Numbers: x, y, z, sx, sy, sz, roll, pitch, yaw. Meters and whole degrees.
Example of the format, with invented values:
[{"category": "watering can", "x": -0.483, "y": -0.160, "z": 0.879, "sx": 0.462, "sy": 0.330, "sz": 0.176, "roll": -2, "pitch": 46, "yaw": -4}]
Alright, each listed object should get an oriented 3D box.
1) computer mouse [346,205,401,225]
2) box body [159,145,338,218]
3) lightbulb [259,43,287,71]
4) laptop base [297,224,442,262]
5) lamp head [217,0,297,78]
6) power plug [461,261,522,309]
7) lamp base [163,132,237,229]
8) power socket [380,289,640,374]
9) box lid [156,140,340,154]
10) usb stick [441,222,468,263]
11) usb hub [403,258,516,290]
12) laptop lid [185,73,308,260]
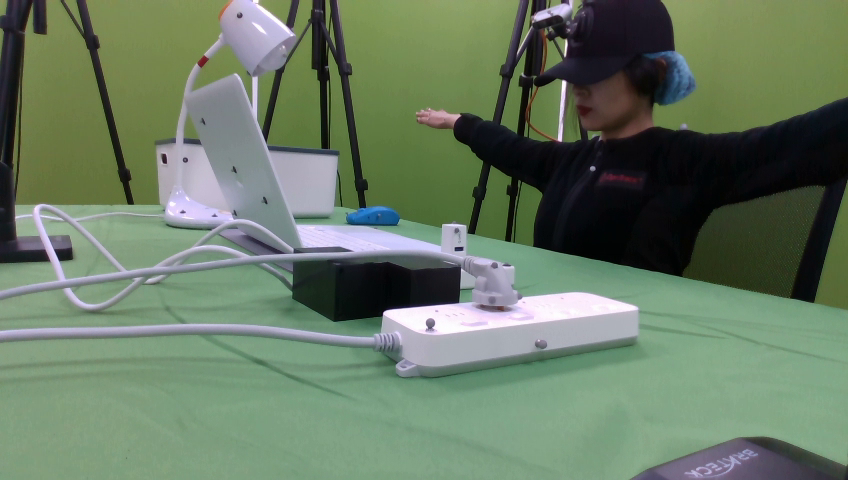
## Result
[{"category": "computer mouse", "x": -0.112, "y": -0.055, "z": 1.335, "sx": 0.118, "sy": 0.041, "sz": 0.062, "roll": -5, "pitch": 11, "yaw": -21}, {"category": "box body", "x": -0.410, "y": -0.139, "z": 1.414, "sx": 0.366, "sy": 0.160, "sz": 0.253, "roll": -3, "pitch": 8, "yaw": -33}, {"category": "lightbulb", "x": -0.295, "y": -0.358, "z": 1.103, "sx": 0.059, "sy": 0.107, "sz": 0.059, "roll": -37, "pitch": 0, "yaw": 0}, {"category": "laptop base", "x": -0.127, "y": 0.002, "z": 0.946, "sx": 0.237, "sy": 0.023, "sz": 0.352, "roll": 2, "pitch": 6, "yaw": -31}, {"category": "lamp head", "x": -0.315, "y": -0.372, "z": 1.102, "sx": 0.123, "sy": 0.112, "sz": 0.112, "roll": 41, "pitch": 2, "yaw": -9}, {"category": "power plug", "x": 0.043, "y": 0.043, "z": 0.444, "sx": 0.035, "sy": 0.052, "sz": 0.073, "roll": -5, "pitch": 8, "yaw": 44}, {"category": "lamp base", "x": -0.419, "y": -0.116, "z": 1.156, "sx": 0.179, "sy": 0.180, "sz": 0.160, "roll": 0, "pitch": 7, "yaw": 0}, {"category": "power socket", "x": 0.072, "y": 0.064, "z": 0.461, "sx": 0.228, "sy": 0.032, "sz": 0.072, "roll": -3, "pitch": 7, "yaw": -30}, {"category": "box lid", "x": -0.409, "y": -0.213, "z": 1.404, "sx": 0.373, "sy": 0.015, "sz": 0.262, "roll": -2, "pitch": 8, "yaw": -32}, {"category": "usb stick", "x": 0.034, "y": 0.009, "z": 0.685, "sx": 0.021, "sy": 0.059, "sz": 0.027, "roll": -2, "pitch": 10, "yaw": -30}, {"category": "usb hub", "x": 0.042, "y": 0.038, "z": 0.690, "sx": 0.126, "sy": 0.025, "sz": 0.049, "roll": -2, "pitch": 9, "yaw": -30}, {"category": "laptop lid", "x": -0.262, "y": -0.101, "z": 0.850, "sx": 0.013, "sy": 0.242, "sz": 0.355, "roll": -26, "pitch": 21, "yaw": -25}]
